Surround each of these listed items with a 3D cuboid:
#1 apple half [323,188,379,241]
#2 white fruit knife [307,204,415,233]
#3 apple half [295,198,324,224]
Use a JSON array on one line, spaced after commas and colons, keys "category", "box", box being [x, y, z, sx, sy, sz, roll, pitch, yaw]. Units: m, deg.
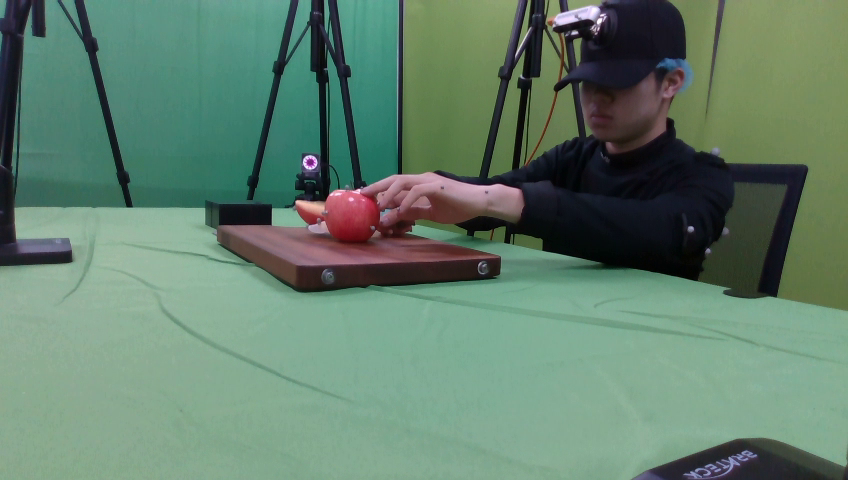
[{"category": "apple half", "box": [-0.094, -0.034, 0.841, 0.053, 0.074, 0.081, 17, 12, 43]}, {"category": "white fruit knife", "box": [-0.088, -0.032, 0.901, 0.016, 0.027, 0.208, 12, 17, 42]}, {"category": "apple half", "box": [-0.156, -0.034, 0.902, 0.081, 0.033, 0.081, 19, 7, -2]}]
